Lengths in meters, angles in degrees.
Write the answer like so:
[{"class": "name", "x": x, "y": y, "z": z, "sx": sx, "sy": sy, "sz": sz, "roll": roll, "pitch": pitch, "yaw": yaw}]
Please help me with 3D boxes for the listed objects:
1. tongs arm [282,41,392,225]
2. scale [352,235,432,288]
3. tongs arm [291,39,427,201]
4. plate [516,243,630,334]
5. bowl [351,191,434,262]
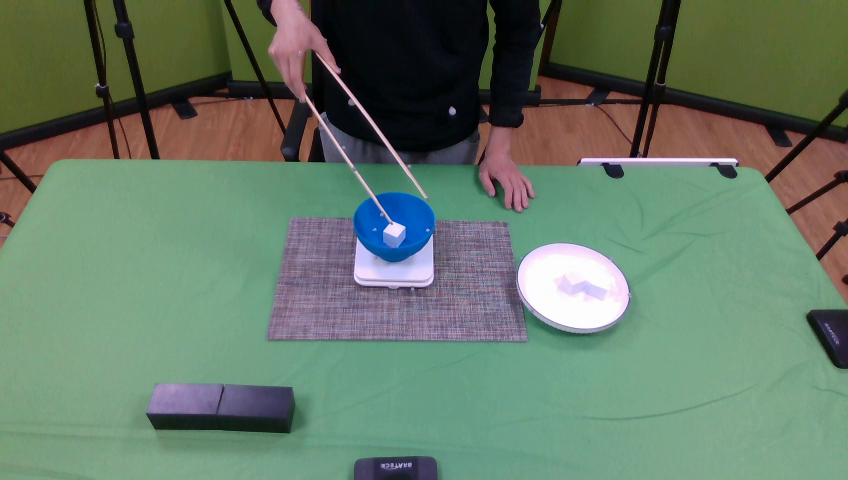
[{"class": "tongs arm", "x": -0.150, "y": -0.194, "z": 1.076, "sx": 0.051, "sy": 0.026, "sz": 0.383, "roll": -36, "pitch": 79, "yaw": 1}, {"class": "scale", "x": -0.060, "y": 0.010, "z": 1.171, "sx": 0.149, "sy": 0.032, "sz": 0.199, "roll": 2, "pitch": 46, "yaw": -3}, {"class": "tongs arm", "x": -0.115, "y": -0.219, "z": 1.076, "sx": 0.028, "sy": 0.028, "sz": 0.386, "roll": -39, "pitch": 79, "yaw": 5}, {"class": "plate", "x": 0.272, "y": 0.092, "z": 1.120, "sx": 0.208, "sy": 0.039, "sz": 0.206, "roll": 2, "pitch": 46, "yaw": -2}, {"class": "bowl", "x": -0.057, "y": -0.013, "z": 1.119, "sx": 0.151, "sy": 0.077, "sz": 0.150, "roll": 1, "pitch": 46, "yaw": -1}]
